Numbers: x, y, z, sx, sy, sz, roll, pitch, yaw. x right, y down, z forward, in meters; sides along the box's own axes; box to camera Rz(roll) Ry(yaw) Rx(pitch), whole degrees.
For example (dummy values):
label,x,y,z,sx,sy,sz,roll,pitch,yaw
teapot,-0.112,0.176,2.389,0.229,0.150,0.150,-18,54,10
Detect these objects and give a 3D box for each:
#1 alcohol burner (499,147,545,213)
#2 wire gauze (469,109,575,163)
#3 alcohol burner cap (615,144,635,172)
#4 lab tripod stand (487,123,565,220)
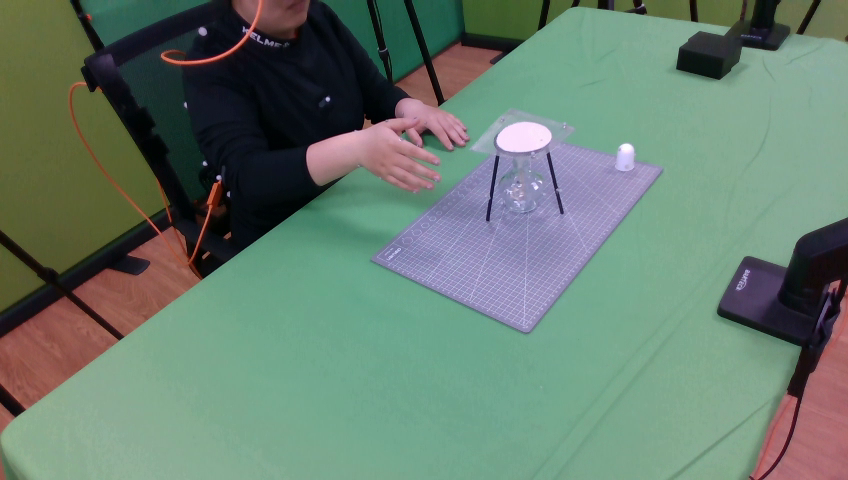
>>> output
label,x,y,z,sx,sy,sz,roll,pitch,yaw
alcohol burner,0.161,-0.104,1.001,0.078,0.120,0.077,-6,42,6
wire gauze,0.154,-0.163,0.950,0.120,0.011,0.125,22,50,32
alcohol burner cap,0.357,-0.147,1.069,0.034,0.048,0.033,-7,40,6
lab tripod stand,0.161,-0.110,0.992,0.148,0.132,0.147,-5,42,5
